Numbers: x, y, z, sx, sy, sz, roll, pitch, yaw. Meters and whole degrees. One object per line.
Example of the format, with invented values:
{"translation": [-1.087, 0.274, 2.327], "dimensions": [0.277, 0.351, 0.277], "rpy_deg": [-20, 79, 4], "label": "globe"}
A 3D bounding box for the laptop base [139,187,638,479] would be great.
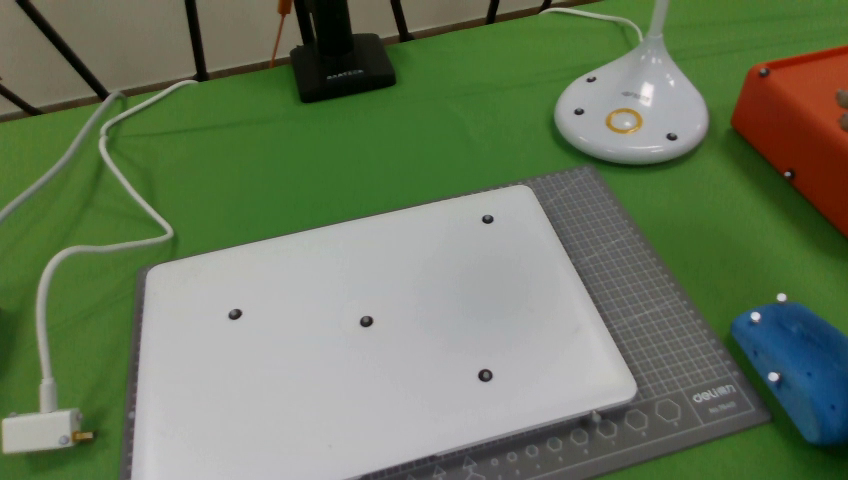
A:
{"translation": [-0.042, 0.074, 0.488], "dimensions": [0.355, 0.023, 0.233], "rpy_deg": [-13, 51, -7], "label": "laptop base"}

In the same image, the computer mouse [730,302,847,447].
{"translation": [0.277, 0.089, 0.433], "dimensions": [0.063, 0.041, 0.116], "rpy_deg": [-13, 43, -5], "label": "computer mouse"}

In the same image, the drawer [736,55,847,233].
{"translation": [0.440, -0.094, 0.560], "dimensions": [0.195, 0.074, 0.209], "rpy_deg": [-15, 46, -7], "label": "drawer"}

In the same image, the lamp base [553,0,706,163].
{"translation": [0.219, -0.199, 0.610], "dimensions": [0.160, 0.182, 0.178], "rpy_deg": [12, 47, 16], "label": "lamp base"}

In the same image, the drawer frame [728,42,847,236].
{"translation": [0.438, -0.096, 0.560], "dimensions": [0.202, 0.083, 0.211], "rpy_deg": [-15, 46, -8], "label": "drawer frame"}

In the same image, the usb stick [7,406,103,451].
{"translation": [-0.265, 0.136, 0.439], "dimensions": [0.059, 0.021, 0.027], "rpy_deg": [0, 82, -11], "label": "usb stick"}

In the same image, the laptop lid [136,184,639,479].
{"translation": [-0.042, 0.067, 0.478], "dimensions": [0.357, 0.013, 0.239], "rpy_deg": [-12, 49, -6], "label": "laptop lid"}
